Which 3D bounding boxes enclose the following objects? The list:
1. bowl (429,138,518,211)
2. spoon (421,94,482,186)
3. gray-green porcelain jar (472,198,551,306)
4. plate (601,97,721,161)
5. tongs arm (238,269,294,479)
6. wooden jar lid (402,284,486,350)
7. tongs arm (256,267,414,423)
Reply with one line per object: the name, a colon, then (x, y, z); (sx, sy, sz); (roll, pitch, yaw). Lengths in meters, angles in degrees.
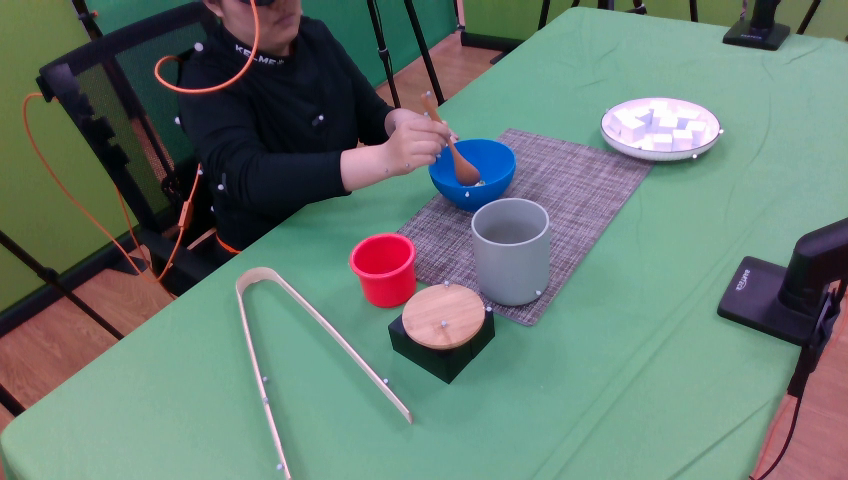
bowl: (0.087, -0.104, 1.043); (0.151, 0.077, 0.150); (-5, 40, 5)
spoon: (0.041, -0.154, 0.962); (0.041, 0.195, 0.021); (-21, 37, 19)
gray-green porcelain jar: (0.125, 0.021, 0.850); (0.106, 0.127, 0.105); (-6, 40, 5)
plate: (0.436, -0.203, 1.126); (0.209, 0.038, 0.208); (-5, 39, 5)
tongs arm: (-0.208, 0.163, 0.824); (0.051, 0.026, 0.381); (-22, 40, -15)
wooden jar lid: (0.026, 0.101, 0.786); (0.108, 0.021, 0.108); (-5, 39, 4)
tongs arm: (-0.137, 0.132, 0.853); (0.028, 0.028, 0.384); (-34, 45, -23)
